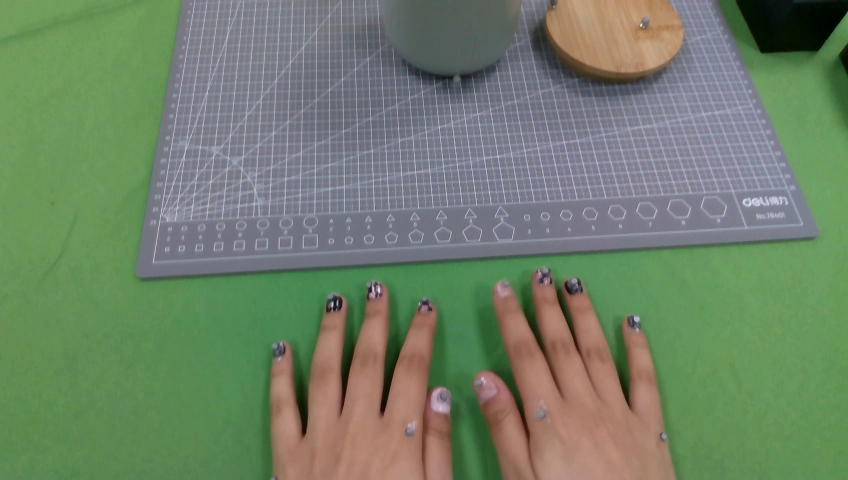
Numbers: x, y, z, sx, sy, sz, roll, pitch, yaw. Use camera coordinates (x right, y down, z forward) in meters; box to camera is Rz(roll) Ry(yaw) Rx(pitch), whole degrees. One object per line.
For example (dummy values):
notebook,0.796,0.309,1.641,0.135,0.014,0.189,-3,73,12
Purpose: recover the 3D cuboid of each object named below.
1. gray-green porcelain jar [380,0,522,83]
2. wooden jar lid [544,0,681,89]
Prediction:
gray-green porcelain jar,0.020,-0.187,0.436,0.106,0.127,0.105,1,60,-1
wooden jar lid,0.149,-0.161,0.486,0.108,0.021,0.107,0,59,0
